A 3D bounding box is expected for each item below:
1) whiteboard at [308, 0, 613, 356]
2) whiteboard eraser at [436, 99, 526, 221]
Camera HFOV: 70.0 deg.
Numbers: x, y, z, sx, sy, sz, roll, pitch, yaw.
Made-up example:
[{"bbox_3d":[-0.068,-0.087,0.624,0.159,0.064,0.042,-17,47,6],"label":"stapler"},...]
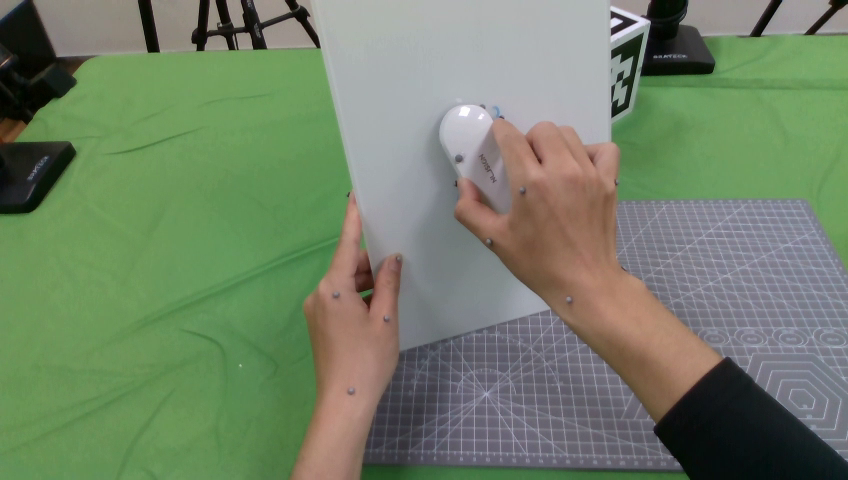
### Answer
[{"bbox_3d":[0.033,-0.088,0.536,0.217,0.308,0.142,-15,27,-9],"label":"whiteboard"},{"bbox_3d":[0.044,-0.060,0.461,0.041,0.102,0.018,-36,22,-9],"label":"whiteboard eraser"}]
